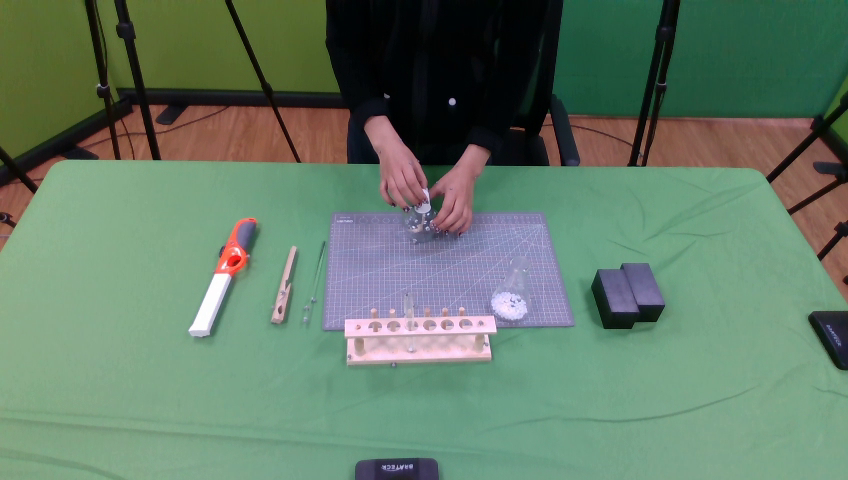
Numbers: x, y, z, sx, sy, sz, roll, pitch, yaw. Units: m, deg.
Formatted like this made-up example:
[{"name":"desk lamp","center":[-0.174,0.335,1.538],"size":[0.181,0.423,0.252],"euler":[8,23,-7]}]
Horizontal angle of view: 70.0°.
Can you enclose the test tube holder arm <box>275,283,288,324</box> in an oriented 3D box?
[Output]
[{"name":"test tube holder arm","center":[-0.254,0.111,1.077],"size":[0.010,0.015,0.087],"euler":[30,38,-27]}]

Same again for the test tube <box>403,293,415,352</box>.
[{"name":"test tube","center":[-0.024,0.133,0.957],"size":[0.017,0.151,0.017],"euler":[0,48,0]}]

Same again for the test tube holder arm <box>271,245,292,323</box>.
[{"name":"test tube holder arm","center":[-0.259,0.076,1.106],"size":[0.013,0.015,0.177],"euler":[29,38,-28]}]

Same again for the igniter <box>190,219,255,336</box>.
[{"name":"igniter","center":[-0.365,0.058,1.110],"size":[0.057,0.025,0.275],"euler":[-1,45,8]}]

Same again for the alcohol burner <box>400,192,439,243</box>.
[{"name":"alcohol burner","center":[-0.007,-0.052,1.182],"size":[0.078,0.119,0.077],"euler":[3,47,-4]}]

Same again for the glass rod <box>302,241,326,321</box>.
[{"name":"glass rod","center":[-0.203,0.071,1.124],"size":[0.008,0.008,0.198],"euler":[4,44,1]}]

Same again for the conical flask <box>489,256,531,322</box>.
[{"name":"conical flask","center":[0.158,0.081,1.061],"size":[0.075,0.122,0.075],"euler":[2,46,-2]}]

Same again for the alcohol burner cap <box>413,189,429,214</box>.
[{"name":"alcohol burner cap","center":[-0.007,-0.076,1.155],"size":[0.034,0.048,0.033],"euler":[-2,47,2]}]

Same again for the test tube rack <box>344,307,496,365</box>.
[{"name":"test tube rack","center":[-0.009,0.154,1.007],"size":[0.242,0.085,0.066],"euler":[-1,46,-5]}]
